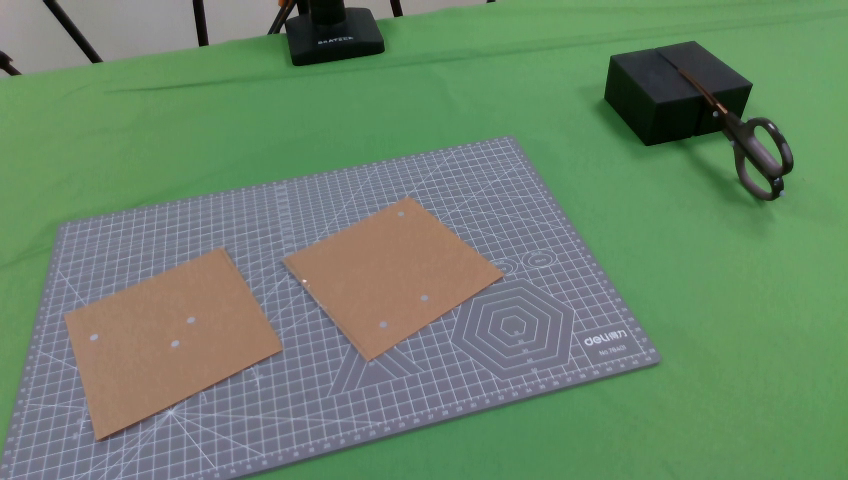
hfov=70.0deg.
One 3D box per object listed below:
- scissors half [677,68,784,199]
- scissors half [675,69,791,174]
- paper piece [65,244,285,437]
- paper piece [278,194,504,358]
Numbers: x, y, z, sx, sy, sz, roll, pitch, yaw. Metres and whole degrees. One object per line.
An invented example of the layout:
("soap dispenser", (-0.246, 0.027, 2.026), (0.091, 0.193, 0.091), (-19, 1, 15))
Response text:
("scissors half", (0.283, -0.106, 0.576), (0.013, 0.040, 0.173), (-18, 59, -2))
("scissors half", (0.279, -0.119, 0.560), (0.013, 0.040, 0.173), (-21, 41, 2))
("paper piece", (-0.196, 0.068, 0.466), (0.136, 0.004, 0.134), (-25, 48, -21))
("paper piece", (-0.029, 0.021, 0.505), (0.138, 0.009, 0.134), (-28, 53, -24))
